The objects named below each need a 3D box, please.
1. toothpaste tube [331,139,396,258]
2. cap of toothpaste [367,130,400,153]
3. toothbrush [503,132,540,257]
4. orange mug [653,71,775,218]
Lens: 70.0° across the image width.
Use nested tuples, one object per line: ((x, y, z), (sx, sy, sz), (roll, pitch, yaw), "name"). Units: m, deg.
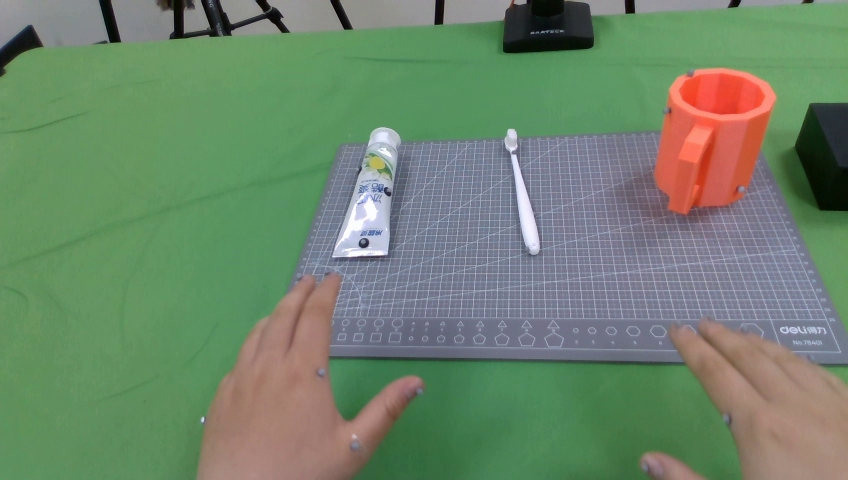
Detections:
((-0.055, -0.046, 0.616), (0.055, 0.035, 0.163), (-5, 47, 13), "toothpaste tube")
((-0.045, -0.105, 0.666), (0.037, 0.038, 0.011), (-1, 48, 8), "cap of toothpaste")
((0.096, -0.051, 0.603), (0.014, 0.017, 0.180), (5, 44, -8), "toothbrush")
((0.253, -0.081, 0.548), (0.083, 0.102, 0.126), (21, 47, 29), "orange mug")
